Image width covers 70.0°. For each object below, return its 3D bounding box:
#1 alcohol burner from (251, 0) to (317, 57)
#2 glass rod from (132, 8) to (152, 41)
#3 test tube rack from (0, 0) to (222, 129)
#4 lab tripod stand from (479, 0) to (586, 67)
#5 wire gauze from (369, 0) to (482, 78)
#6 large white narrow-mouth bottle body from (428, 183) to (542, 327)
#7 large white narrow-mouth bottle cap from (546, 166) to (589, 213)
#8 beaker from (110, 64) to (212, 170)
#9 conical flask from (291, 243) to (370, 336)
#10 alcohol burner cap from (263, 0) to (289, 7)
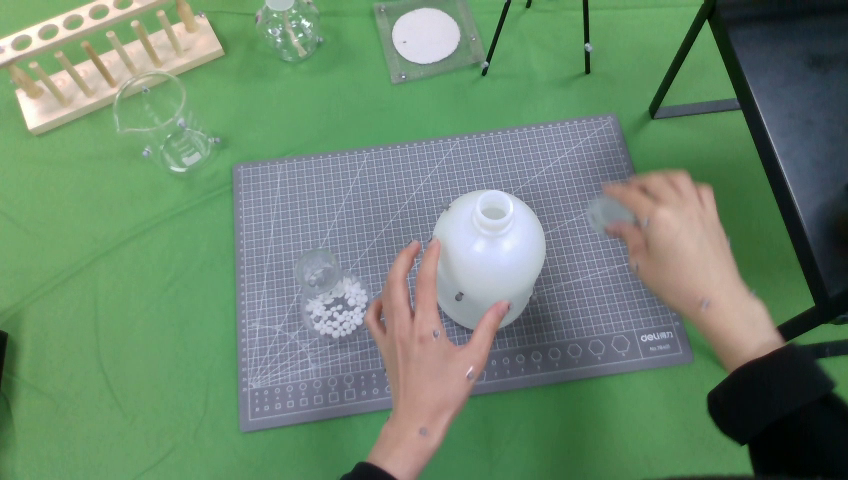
[{"bbox_3d":[-0.167,-0.274,0.711,0.078,0.120,0.077,0,65,0],"label":"alcohol burner"},{"bbox_3d":[-0.334,-0.290,0.662,0.008,0.201,0.008,2,65,-3],"label":"glass rod"},{"bbox_3d":[-0.375,-0.226,0.709,0.242,0.086,0.066,-27,70,-10],"label":"test tube rack"},{"bbox_3d":[0.133,-0.269,0.694,0.148,0.132,0.147,0,67,-1],"label":"lab tripod stand"},{"bbox_3d":[0.001,-0.266,0.762,0.121,0.011,0.124,-12,68,-5],"label":"wire gauze"},{"bbox_3d":[0.054,0.007,0.548,0.102,0.196,0.101,-1,67,3],"label":"large white narrow-mouth bottle body"},{"bbox_3d":[0.125,-0.043,0.530,0.038,0.024,0.037,-1,67,3],"label":"large white narrow-mouth bottle cap"},{"bbox_3d":[-0.283,-0.127,0.660,0.073,0.101,0.084,37,73,15],"label":"beaker"},{"bbox_3d":[-0.094,0.042,0.574,0.075,0.123,0.075,0,67,1],"label":"conical flask"},{"bbox_3d":[-0.168,-0.290,0.678,0.034,0.048,0.033,3,65,-7],"label":"alcohol burner cap"}]
